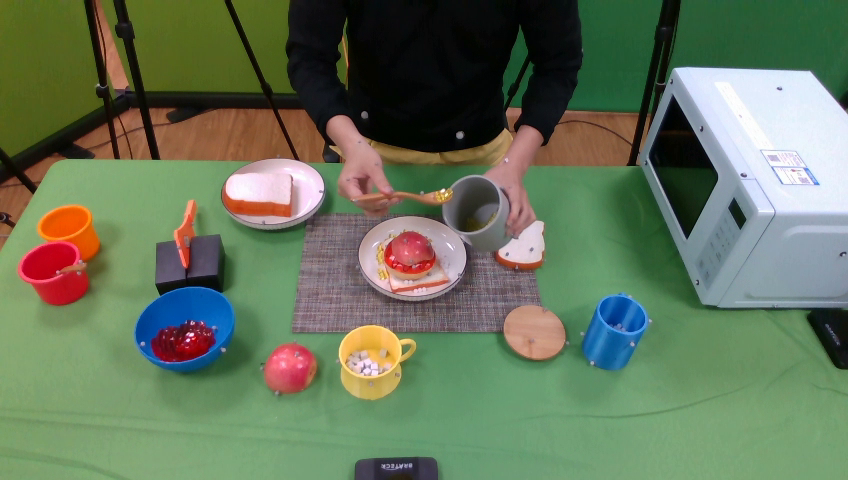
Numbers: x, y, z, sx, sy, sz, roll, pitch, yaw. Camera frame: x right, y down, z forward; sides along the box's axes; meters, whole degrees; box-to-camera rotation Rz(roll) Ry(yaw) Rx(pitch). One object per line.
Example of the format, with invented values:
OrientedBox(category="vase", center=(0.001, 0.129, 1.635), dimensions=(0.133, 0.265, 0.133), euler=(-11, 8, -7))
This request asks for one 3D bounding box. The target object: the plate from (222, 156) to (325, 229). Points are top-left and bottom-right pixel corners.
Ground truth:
OrientedBox(category="plate", center=(-0.308, -0.095, 1.251), dimensions=(0.209, 0.038, 0.208), euler=(2, 47, -2))

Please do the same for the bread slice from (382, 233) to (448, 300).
OrientedBox(category="bread slice", center=(-0.026, 0.047, 1.152), dimensions=(0.107, 0.018, 0.133), euler=(-15, 62, -13))

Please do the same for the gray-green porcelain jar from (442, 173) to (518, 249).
OrientedBox(category="gray-green porcelain jar", center=(0.101, -0.045, 1.044), dimensions=(0.105, 0.127, 0.105), euler=(-7, 73, 22))

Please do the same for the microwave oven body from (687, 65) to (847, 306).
OrientedBox(category="microwave oven body", center=(0.669, -0.111, 1.176), dimensions=(0.326, 0.261, 0.439), euler=(0, 46, -3))

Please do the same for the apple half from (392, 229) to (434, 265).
OrientedBox(category="apple half", center=(-0.020, 0.005, 1.083), dimensions=(0.081, 0.033, 0.081), euler=(6, 48, -7))

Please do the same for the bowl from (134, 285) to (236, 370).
OrientedBox(category="bowl", center=(-0.377, 0.155, 0.981), dimensions=(0.151, 0.077, 0.150), euler=(2, 46, -2))

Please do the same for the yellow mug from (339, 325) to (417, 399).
OrientedBox(category="yellow mug", center=(-0.072, 0.190, 0.978), dimensions=(0.131, 0.064, 0.099), euler=(-17, 50, -20))

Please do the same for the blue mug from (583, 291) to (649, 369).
OrientedBox(category="blue mug", center=(0.324, 0.142, 1.023), dimensions=(0.082, 0.106, 0.116), euler=(15, 47, 11))

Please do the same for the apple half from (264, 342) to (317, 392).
OrientedBox(category="apple half", center=(-0.214, 0.198, 0.970), dimensions=(0.074, 0.053, 0.080), euler=(19, 48, 10))

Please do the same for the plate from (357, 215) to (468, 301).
OrientedBox(category="plate", center=(-0.022, 0.037, 1.141), dimensions=(0.208, 0.039, 0.206), euler=(2, 46, -2))

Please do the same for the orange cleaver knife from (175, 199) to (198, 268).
OrientedBox(category="orange cleaver knife", center=(-0.438, -0.017, 1.138), dimensions=(0.012, 0.077, 0.210), euler=(-14, 27, -7))

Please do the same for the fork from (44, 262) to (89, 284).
OrientedBox(category="fork", center=(-0.598, 0.054, 1.014), dimensions=(0.207, 0.019, 0.028), euler=(-15, 29, 45))

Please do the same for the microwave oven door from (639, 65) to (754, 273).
OrientedBox(category="microwave oven door", center=(0.522, -0.147, 1.193), dimensions=(0.039, 0.245, 0.353), euler=(0, 47, -3))

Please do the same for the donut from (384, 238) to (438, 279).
OrientedBox(category="donut", center=(-0.025, 0.029, 1.109), dimensions=(0.099, 0.048, 0.098), euler=(2, 46, -2))

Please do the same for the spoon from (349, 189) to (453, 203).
OrientedBox(category="spoon", center=(-0.033, -0.069, 0.935), dimensions=(0.194, 0.022, 0.041), euler=(-2, 25, -40))

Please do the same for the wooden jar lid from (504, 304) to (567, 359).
OrientedBox(category="wooden jar lid", center=(0.192, 0.161, 1.052), dimensions=(0.108, 0.021, 0.107), euler=(3, 50, -3))

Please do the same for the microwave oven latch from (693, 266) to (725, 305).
OrientedBox(category="microwave oven latch", center=(0.523, 0.081, 1.115), dimensions=(0.030, 0.029, 0.078), euler=(3, 46, 0))

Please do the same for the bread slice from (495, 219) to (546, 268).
OrientedBox(category="bread slice", center=(0.194, 0.003, 1.205), dimensions=(0.105, 0.019, 0.131), euler=(5, 44, 2))
